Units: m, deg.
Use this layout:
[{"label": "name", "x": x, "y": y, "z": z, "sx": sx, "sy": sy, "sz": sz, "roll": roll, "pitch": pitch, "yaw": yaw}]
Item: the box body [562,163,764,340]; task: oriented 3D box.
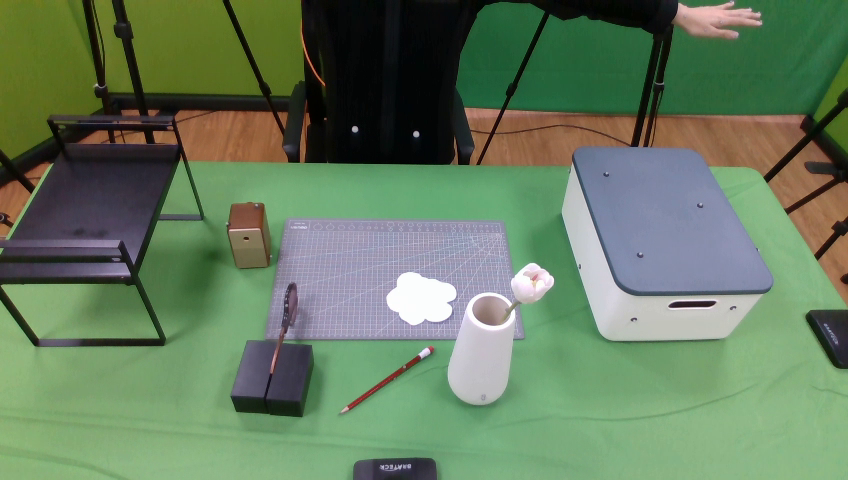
[{"label": "box body", "x": 0.420, "y": 0.003, "z": 1.129, "sx": 0.254, "sy": 0.161, "sz": 0.361, "roll": -1, "pitch": 46, "yaw": -5}]

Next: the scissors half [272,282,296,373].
[{"label": "scissors half", "x": -0.229, "y": 0.139, "z": 0.986, "sx": 0.013, "sy": 0.040, "sz": 0.174, "roll": 4, "pitch": 51, "yaw": -2}]

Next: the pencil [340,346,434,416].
[{"label": "pencil", "x": -0.058, "y": 0.228, "z": 0.984, "sx": 0.194, "sy": 0.012, "sz": 0.012, "roll": -32, "pitch": 56, "yaw": -28}]

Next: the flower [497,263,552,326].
[{"label": "flower", "x": 0.103, "y": 0.121, "z": 0.853, "sx": 0.044, "sy": 0.363, "sz": 0.038, "roll": -2, "pitch": 64, "yaw": -10}]

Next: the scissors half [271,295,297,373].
[{"label": "scissors half", "x": -0.230, "y": 0.154, "z": 1.000, "sx": 0.013, "sy": 0.040, "sz": 0.174, "roll": 0, "pitch": 34, "yaw": 2}]

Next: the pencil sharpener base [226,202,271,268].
[{"label": "pencil sharpener base", "x": -0.323, "y": -0.010, "z": 1.123, "sx": 0.061, "sy": 0.107, "sz": 0.076, "roll": -3, "pitch": 46, "yaw": -7}]

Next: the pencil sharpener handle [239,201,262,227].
[{"label": "pencil sharpener handle", "x": -0.325, "y": -0.056, "z": 1.149, "sx": 0.036, "sy": 0.068, "sz": 0.030, "roll": -13, "pitch": 46, "yaw": 4}]

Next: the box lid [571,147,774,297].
[{"label": "box lid", "x": 0.424, "y": -0.047, "z": 1.074, "sx": 0.263, "sy": 0.015, "sz": 0.369, "roll": -1, "pitch": 47, "yaw": -5}]

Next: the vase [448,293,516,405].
[{"label": "vase", "x": 0.091, "y": 0.169, "z": 0.921, "sx": 0.098, "sy": 0.201, "sz": 0.097, "roll": 3, "pitch": 47, "yaw": -3}]
